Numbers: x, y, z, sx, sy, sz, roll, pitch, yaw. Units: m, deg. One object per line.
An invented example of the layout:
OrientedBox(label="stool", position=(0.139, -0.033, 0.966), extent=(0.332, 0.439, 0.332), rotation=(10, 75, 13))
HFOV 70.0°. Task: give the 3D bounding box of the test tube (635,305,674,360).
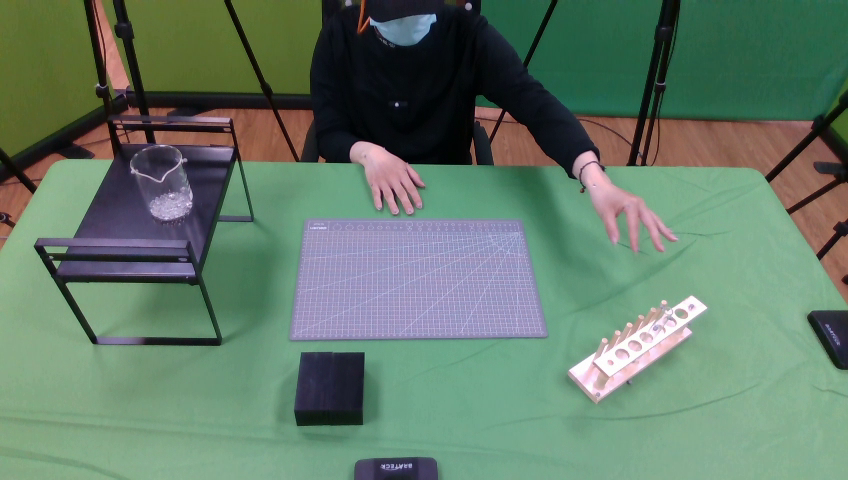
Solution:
OrientedBox(label="test tube", position=(0.361, 0.151, 0.961), extent=(0.017, 0.151, 0.017), rotation=(2, 50, -3))

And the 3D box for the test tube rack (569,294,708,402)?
OrientedBox(label="test tube rack", position=(0.360, 0.167, 1.015), extent=(0.242, 0.085, 0.066), rotation=(-25, 52, -25))

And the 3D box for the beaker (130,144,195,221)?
OrientedBox(label="beaker", position=(-0.403, -0.085, 0.944), extent=(0.074, 0.101, 0.083), rotation=(-15, 50, -17))
